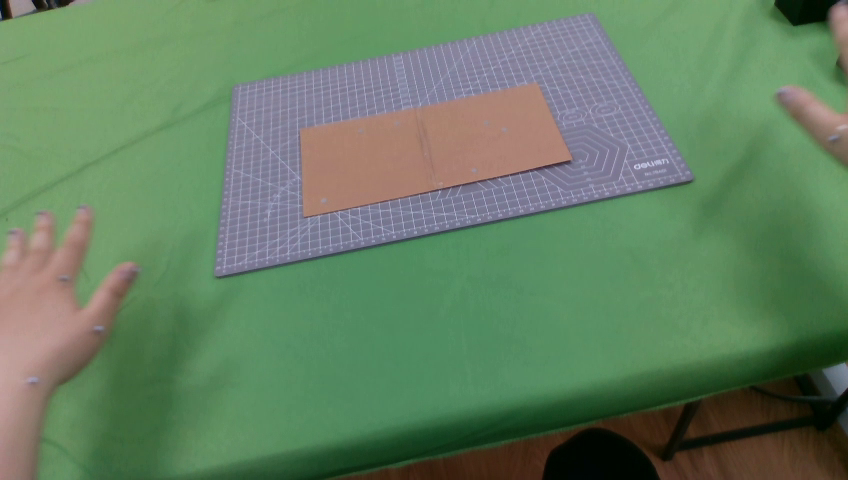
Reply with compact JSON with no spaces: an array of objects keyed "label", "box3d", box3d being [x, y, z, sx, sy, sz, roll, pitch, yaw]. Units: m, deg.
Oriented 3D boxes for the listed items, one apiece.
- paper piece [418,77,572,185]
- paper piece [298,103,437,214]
[{"label":"paper piece","box3d":[0.068,-0.118,0.627,0.135,0.004,0.134,-12,50,1]},{"label":"paper piece","box3d":[-0.063,-0.089,0.629,0.138,0.009,0.134,-11,48,1]}]
